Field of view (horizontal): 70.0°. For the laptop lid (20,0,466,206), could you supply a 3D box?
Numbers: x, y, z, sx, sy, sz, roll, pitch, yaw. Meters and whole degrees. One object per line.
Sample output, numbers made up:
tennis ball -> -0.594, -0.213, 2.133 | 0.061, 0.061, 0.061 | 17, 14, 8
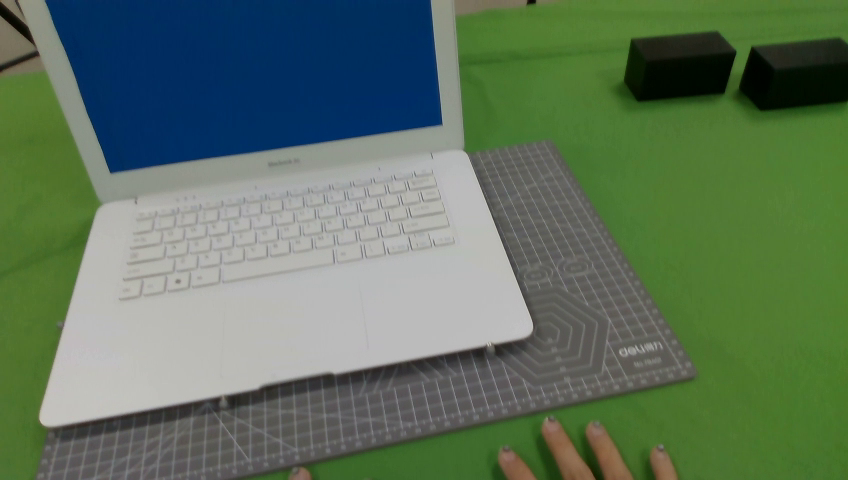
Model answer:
laptop lid -> -0.142, -0.157, 0.536 | 0.357, 0.243, 0.013 | -11, 30, -5

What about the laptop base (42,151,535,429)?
laptop base -> -0.109, 0.025, 0.511 | 0.355, 0.023, 0.233 | -10, 47, -6
